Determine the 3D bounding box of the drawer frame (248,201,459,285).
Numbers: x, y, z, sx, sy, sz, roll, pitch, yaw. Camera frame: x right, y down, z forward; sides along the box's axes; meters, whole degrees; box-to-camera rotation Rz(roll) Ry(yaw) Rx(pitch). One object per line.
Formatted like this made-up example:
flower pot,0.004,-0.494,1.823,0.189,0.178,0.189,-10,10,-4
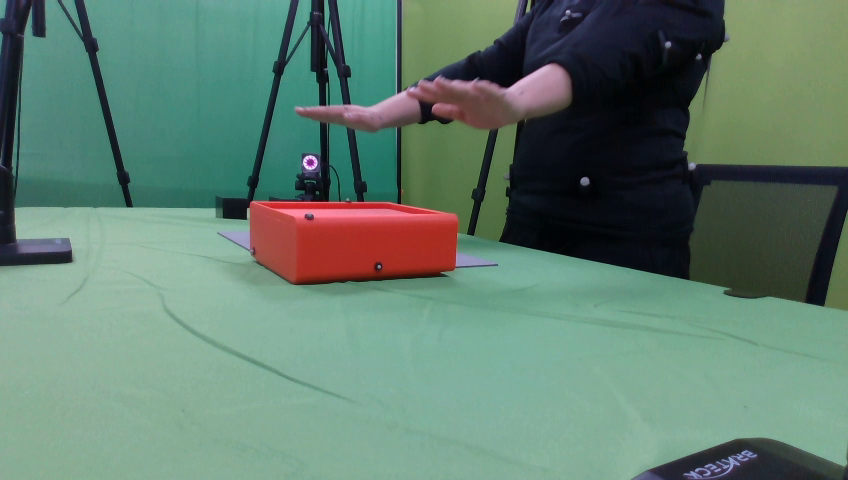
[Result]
drawer frame,-0.096,-0.005,0.785,0.215,0.082,0.200,-3,10,-31

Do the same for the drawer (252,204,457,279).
drawer,-0.095,-0.004,0.787,0.213,0.073,0.193,-3,10,-30

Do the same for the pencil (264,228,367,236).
pencil,-0.195,-0.013,1.109,0.195,0.012,0.012,1,7,-28
